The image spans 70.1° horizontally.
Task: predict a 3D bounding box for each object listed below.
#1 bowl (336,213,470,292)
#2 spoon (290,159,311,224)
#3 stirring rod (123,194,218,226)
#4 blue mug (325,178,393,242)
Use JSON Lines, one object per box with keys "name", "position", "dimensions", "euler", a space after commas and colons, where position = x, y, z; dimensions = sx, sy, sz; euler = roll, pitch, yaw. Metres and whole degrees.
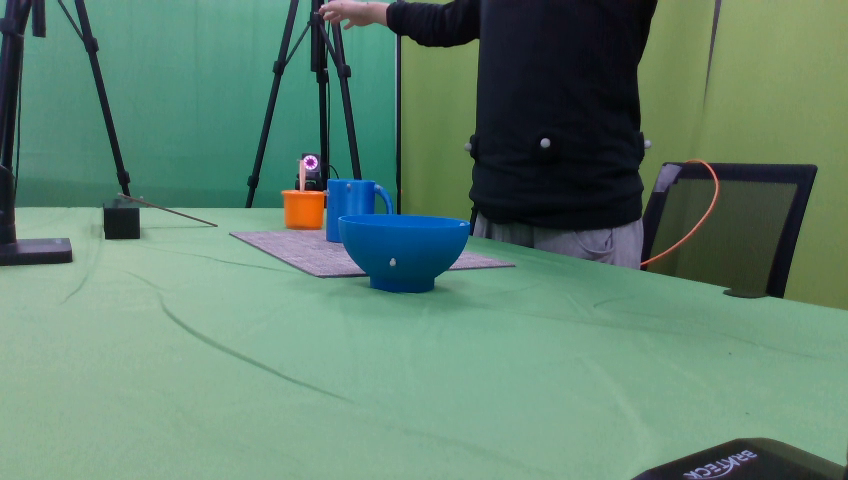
{"name": "bowl", "position": [-0.025, 0.013, 0.685], "dimensions": [0.151, 0.077, 0.151], "euler": [2, 7, 0]}
{"name": "spoon", "position": [-0.256, -0.104, 1.265], "dimensions": [0.042, 0.193, 0.021], "euler": [1, -37, -9]}
{"name": "stirring rod", "position": [-0.480, -0.056, 1.153], "dimensions": [0.177, 0.006, 0.014], "euler": [20, -5, -29]}
{"name": "blue mug", "position": [-0.111, -0.052, 1.034], "dimensions": [0.116, 0.106, 0.082], "euler": [3, 7, 7]}
